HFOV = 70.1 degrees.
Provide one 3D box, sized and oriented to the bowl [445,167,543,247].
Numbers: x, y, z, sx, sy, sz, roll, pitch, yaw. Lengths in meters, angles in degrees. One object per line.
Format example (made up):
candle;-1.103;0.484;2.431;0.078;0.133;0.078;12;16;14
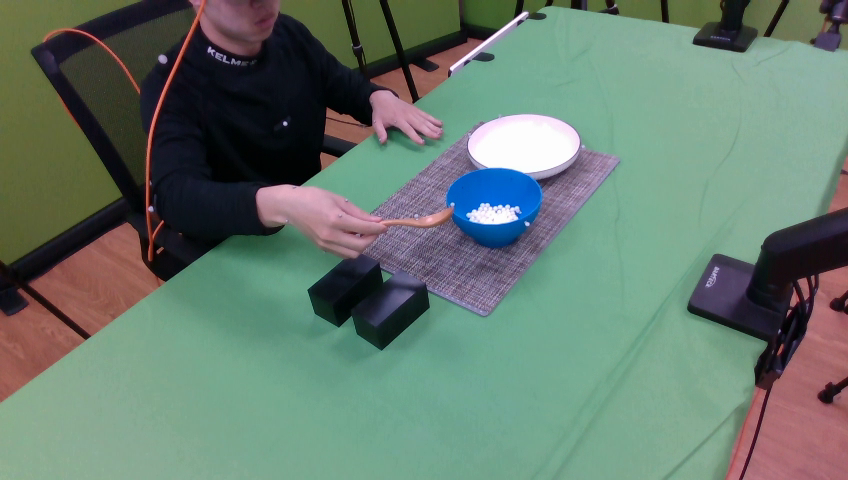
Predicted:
bowl;0.111;-0.042;0.952;0.151;0.077;0.150;-4;41;4

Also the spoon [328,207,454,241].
spoon;-0.048;-0.021;0.846;0.193;0.022;0.041;-7;29;18

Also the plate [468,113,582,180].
plate;0.186;-0.169;1.122;0.207;0.039;0.206;-4;40;4
